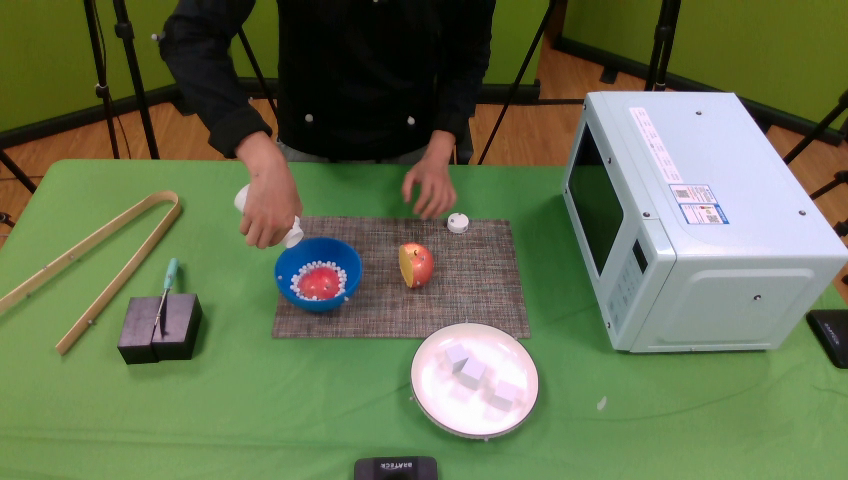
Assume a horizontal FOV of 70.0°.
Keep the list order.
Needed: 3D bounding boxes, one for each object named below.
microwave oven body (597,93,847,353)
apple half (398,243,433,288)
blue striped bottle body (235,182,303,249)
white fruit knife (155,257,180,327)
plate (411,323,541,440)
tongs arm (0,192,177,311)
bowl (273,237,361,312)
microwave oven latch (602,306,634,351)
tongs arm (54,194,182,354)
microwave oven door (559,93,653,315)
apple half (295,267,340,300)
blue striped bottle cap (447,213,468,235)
[{"bbox_3d":[0.475,-0.041,1.109,0.326,0.261,0.438,-1,45,-4],"label":"microwave oven body"},{"bbox_3d":[-0.012,0.046,1.115,0.053,0.075,0.080,-11,44,-19],"label":"apple half"},{"bbox_3d":[-0.259,-0.038,1.027,0.120,0.063,0.063,43,55,14],"label":"blue striped bottle body"},{"bbox_3d":[-0.440,0.085,1.037,0.016,0.027,0.206,10,26,-19],"label":"white fruit knife"},{"bbox_3d":[0.082,0.228,0.976,0.208,0.039,0.206,2,45,-2],"label":"plate"},{"bbox_3d":[-0.618,0.020,1.124,0.050,0.026,0.384,23,47,17],"label":"tongs arm"},{"bbox_3d":[-0.185,0.074,1.069,0.151,0.077,0.150,3,46,-3],"label":"bowl"},{"bbox_3d":[0.332,0.153,1.044,0.030,0.029,0.078,-1,45,-4],"label":"microwave oven latch"},{"bbox_3d":[-0.543,0.048,1.107,0.028,0.028,0.385,11,45,10],"label":"tongs arm"},{"bbox_3d":[0.327,-0.074,1.123,0.039,0.245,0.353,-1,46,-5],"label":"microwave oven door"},{"bbox_3d":[-0.187,0.070,1.067,0.081,0.033,0.081,3,47,-3],"label":"apple half"},{"bbox_3d":[0.069,-0.033,1.239,0.044,0.021,0.044,1,47,-1],"label":"blue striped bottle cap"}]
